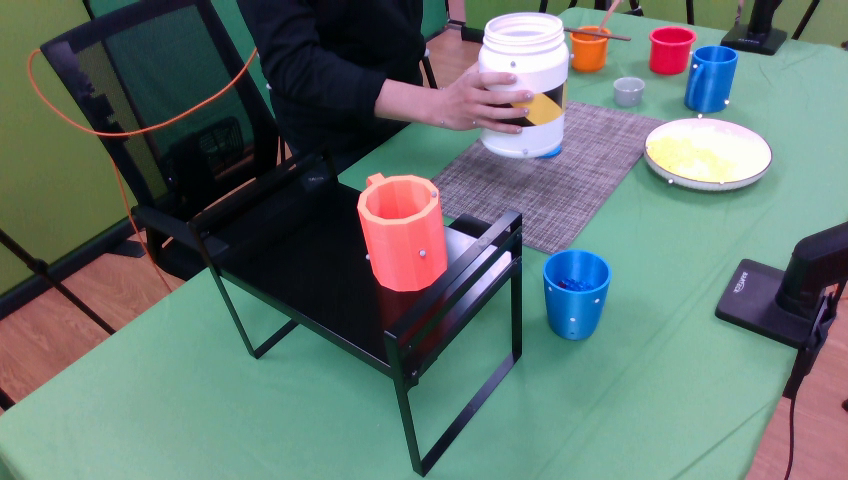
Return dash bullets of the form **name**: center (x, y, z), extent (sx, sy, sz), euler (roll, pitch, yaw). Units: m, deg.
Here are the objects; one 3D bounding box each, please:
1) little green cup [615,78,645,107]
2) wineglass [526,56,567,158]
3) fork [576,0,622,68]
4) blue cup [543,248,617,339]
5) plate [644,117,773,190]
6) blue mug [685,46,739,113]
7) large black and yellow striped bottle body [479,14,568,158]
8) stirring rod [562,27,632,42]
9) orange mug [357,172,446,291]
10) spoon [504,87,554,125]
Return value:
- **little green cup**: center (0.426, -0.306, 1.257), extent (0.061, 0.039, 0.061), euler (-4, 40, 4)
- **wineglass**: center (0.222, -0.241, 1.102), extent (0.074, 0.173, 0.073), euler (-5, 41, 5)
- **fork**: center (0.409, -0.484, 1.381), extent (0.028, 0.019, 0.207), euler (37, 101, 46)
- **blue cup**: center (0.199, 0.076, 0.797), extent (0.092, 0.100, 0.092), euler (-4, 39, 4)
- **plate**: center (0.495, -0.149, 1.063), extent (0.209, 0.038, 0.208), euler (-5, 40, 4)
- **blue mug**: center (0.556, -0.311, 1.190), extent (0.117, 0.106, 0.081), euler (-32, 46, -25)
- **large black and yellow striped bottle body**: center (0.149, -0.232, 0.912), extent (0.131, 0.185, 0.130), euler (-4, 37, 3)
- **stirring rod**: center (0.381, -0.463, 1.356), extent (0.175, 0.006, 0.014), euler (22, 48, 30)
- **orange mug**: center (-0.030, -0.019, 0.668), extent (0.084, 0.101, 0.125), euler (-23, 47, -16)
- **spoon**: center (0.227, -0.285, 1.269), extent (0.041, 0.022, 0.194), euler (2, 36, 44)
